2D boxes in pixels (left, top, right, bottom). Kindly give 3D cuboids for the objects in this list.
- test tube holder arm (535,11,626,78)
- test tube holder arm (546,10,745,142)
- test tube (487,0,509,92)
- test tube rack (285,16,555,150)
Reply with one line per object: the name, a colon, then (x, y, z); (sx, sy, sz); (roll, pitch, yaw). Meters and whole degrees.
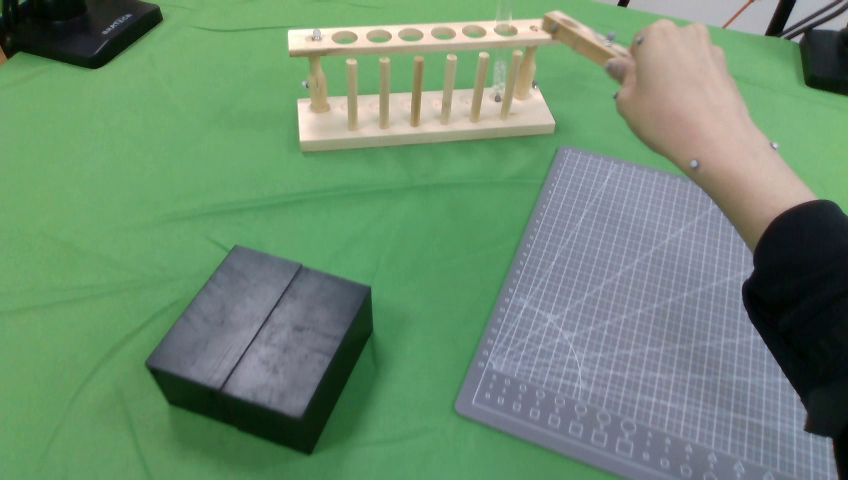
test tube holder arm: (0.116, -0.146, 0.448); (0.010, 0.015, 0.087); (-27, 54, -28)
test tube holder arm: (0.147, -0.121, 0.428); (0.013, 0.015, 0.176); (-26, 54, -28)
test tube: (0.068, -0.201, 0.548); (0.017, 0.151, 0.017); (-1, 46, 2)
test tube rack: (0.000, -0.147, 0.562); (0.243, 0.086, 0.066); (-6, 49, -9)
